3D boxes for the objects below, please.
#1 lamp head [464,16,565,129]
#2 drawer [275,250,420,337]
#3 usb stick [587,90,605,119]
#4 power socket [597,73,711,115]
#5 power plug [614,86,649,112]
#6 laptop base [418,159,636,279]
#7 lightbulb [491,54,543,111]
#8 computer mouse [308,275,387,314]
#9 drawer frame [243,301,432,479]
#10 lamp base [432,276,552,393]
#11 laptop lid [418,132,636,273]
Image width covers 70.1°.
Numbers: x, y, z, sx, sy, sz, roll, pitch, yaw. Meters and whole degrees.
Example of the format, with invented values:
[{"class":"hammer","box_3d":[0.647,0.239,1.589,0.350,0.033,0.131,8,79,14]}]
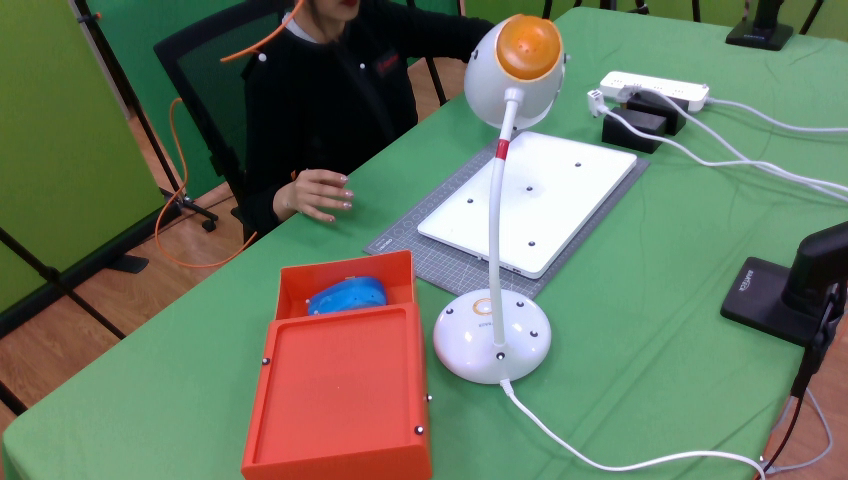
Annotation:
[{"class":"lamp head","box_3d":[0.101,-0.184,0.655,0.112,0.112,0.123,-9,0,0]},{"class":"drawer","box_3d":[-0.104,0.117,0.825,0.194,0.073,0.210,-8,40,1]},{"class":"usb stick","box_3d":[0.334,-0.258,1.170,0.021,0.059,0.027,-28,44,-5]},{"class":"power socket","box_3d":[0.469,-0.304,1.249,0.225,0.033,0.072,20,49,30]},{"class":"power plug","box_3d":[0.406,-0.275,1.192,0.035,0.053,0.072,-15,24,-15]},{"class":"laptop base","box_3d":[0.185,-0.074,1.042,0.233,0.023,0.355,19,47,35]},{"class":"lightbulb","box_3d":[0.108,-0.181,0.679,0.059,0.059,0.108,-9,-3,1]},{"class":"computer mouse","box_3d":[-0.112,0.089,0.881,0.117,0.041,0.062,-16,43,0]},{"class":"drawer frame","box_3d":[-0.096,0.185,0.738,0.202,0.083,0.212,-8,40,1]},{"class":"lamp base","box_3d":[0.085,0.075,0.756,0.161,0.181,0.178,-14,44,-5]},{"class":"laptop lid","box_3d":[0.181,-0.084,1.036,0.239,0.013,0.358,22,49,35]}]
